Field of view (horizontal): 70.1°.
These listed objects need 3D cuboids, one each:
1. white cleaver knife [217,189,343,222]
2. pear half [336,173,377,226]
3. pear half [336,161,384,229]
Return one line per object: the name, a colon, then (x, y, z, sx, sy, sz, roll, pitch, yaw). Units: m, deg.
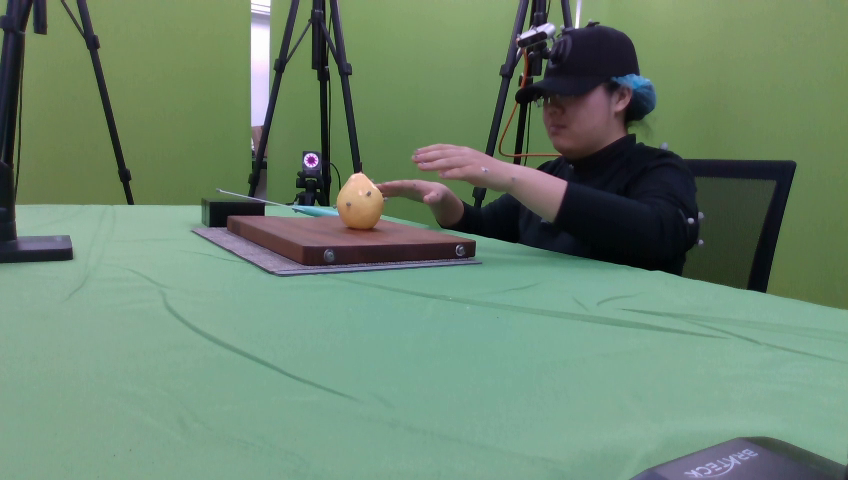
white cleaver knife: (-0.275, -0.066, 1.233, 0.288, 0.021, 0.065, 11, 6, -29)
pear half: (-0.116, -0.067, 1.004, 0.071, 0.088, 0.031, -11, 13, -31)
pear half: (-0.099, -0.072, 0.972, 0.077, 0.110, 0.055, -7, 11, -31)
